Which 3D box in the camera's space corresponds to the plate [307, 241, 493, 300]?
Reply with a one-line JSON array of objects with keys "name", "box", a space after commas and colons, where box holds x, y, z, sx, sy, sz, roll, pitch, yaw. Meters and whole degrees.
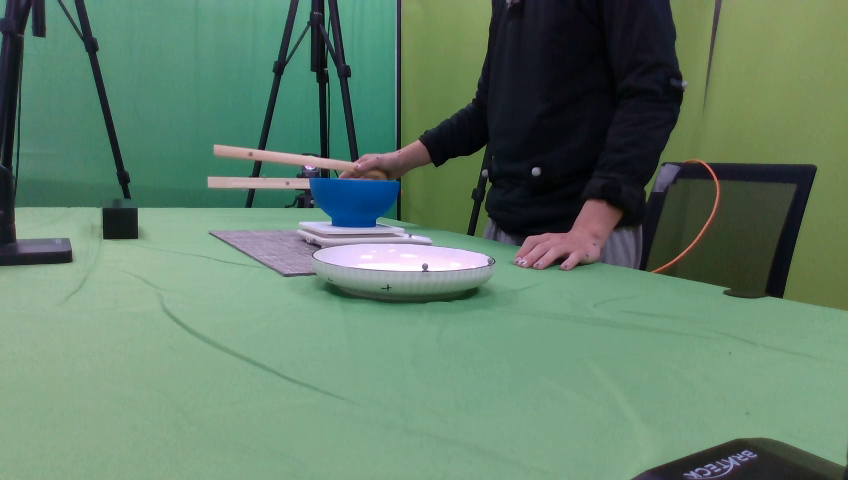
[{"name": "plate", "box": [-0.027, 0.034, 0.684, 0.208, 0.039, 0.207, 2, 7, 0]}]

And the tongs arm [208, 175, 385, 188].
[{"name": "tongs arm", "box": [-0.276, -0.136, 1.348, 0.386, 0.026, 0.050, -1, -22, -21]}]

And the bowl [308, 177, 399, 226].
[{"name": "bowl", "box": [-0.117, -0.064, 1.001, 0.151, 0.077, 0.151, 2, 6, 0]}]

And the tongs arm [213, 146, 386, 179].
[{"name": "tongs arm", "box": [-0.247, -0.162, 1.283, 0.390, 0.027, 0.028, 4, -27, -32]}]

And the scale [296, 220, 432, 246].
[{"name": "scale", "box": [-0.101, -0.012, 1.017, 0.202, 0.031, 0.148, -1, 8, -30]}]
